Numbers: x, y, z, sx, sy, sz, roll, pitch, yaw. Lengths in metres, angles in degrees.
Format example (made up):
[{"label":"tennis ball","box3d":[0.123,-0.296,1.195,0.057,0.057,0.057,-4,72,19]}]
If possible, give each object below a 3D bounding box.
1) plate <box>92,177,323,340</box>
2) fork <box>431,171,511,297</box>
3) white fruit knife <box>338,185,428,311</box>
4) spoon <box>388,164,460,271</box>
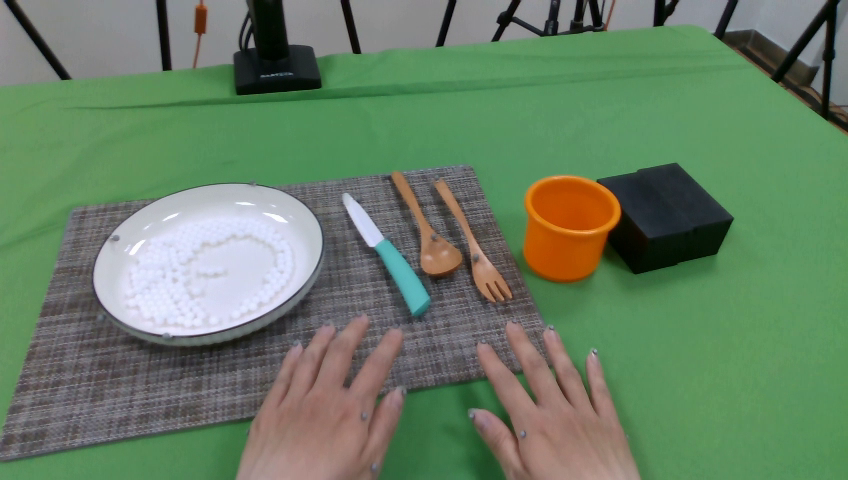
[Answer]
[{"label":"plate","box3d":[-0.200,0.016,0.581,0.209,0.038,0.207,1,43,-1]},{"label":"fork","box3d":[0.042,-0.013,0.635,0.028,0.019,0.205,-17,48,-8]},{"label":"white fruit knife","box3d":[-0.047,-0.001,0.620,0.027,0.016,0.205,-8,42,-29]},{"label":"spoon","box3d":[-0.007,-0.031,0.649,0.041,0.022,0.191,-23,47,-3]}]
